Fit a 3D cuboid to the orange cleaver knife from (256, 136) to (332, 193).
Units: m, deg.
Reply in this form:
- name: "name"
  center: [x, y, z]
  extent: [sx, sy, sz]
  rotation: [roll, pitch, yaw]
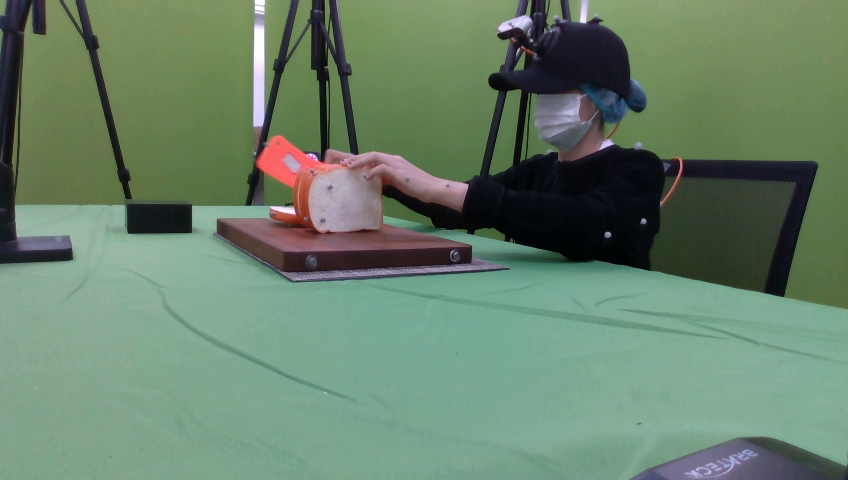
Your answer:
- name: "orange cleaver knife"
  center: [-0.199, -0.118, 1.080]
  extent: [0.212, 0.077, 0.012]
  rotation: [22, -12, -39]

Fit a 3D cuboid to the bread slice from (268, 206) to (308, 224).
- name: "bread slice"
  center: [-0.195, -0.040, 1.015]
  extent: [0.132, 0.019, 0.104]
  rotation: [2, 8, -37]

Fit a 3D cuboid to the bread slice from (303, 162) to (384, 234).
- name: "bread slice"
  center: [-0.120, -0.059, 0.919]
  extent: [0.135, 0.107, 0.018]
  rotation: [-12, 15, -37]
